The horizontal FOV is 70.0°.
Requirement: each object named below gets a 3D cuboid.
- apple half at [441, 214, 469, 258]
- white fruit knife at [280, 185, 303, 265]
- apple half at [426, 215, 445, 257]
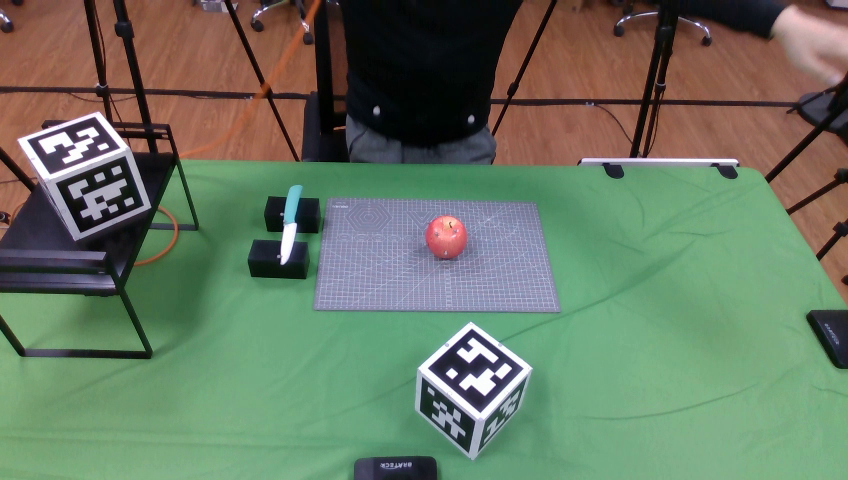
[{"bbox_3d":[0.058,-0.005,1.162,0.053,0.075,0.080,3,41,-5],"label":"apple half"},{"bbox_3d":[-0.253,-0.032,1.143,0.027,0.016,0.206,7,46,-10],"label":"white fruit knife"},{"bbox_3d":[0.019,-0.006,1.158,0.033,0.081,0.081,4,46,-7],"label":"apple half"}]
